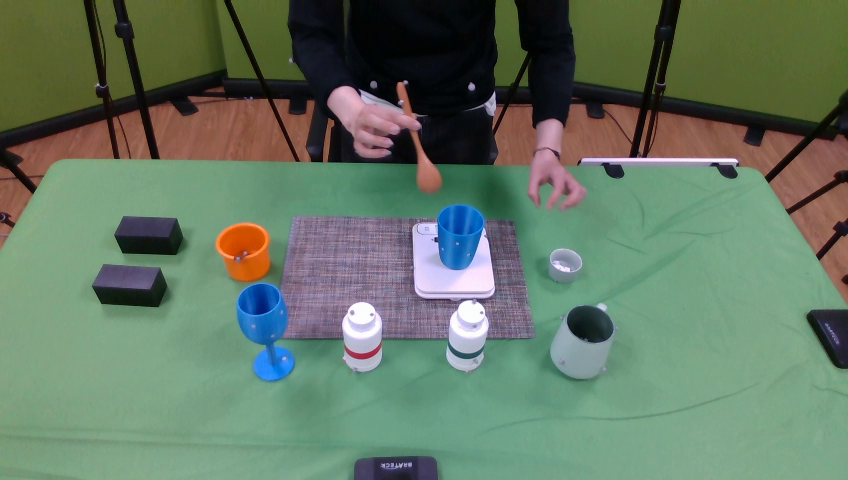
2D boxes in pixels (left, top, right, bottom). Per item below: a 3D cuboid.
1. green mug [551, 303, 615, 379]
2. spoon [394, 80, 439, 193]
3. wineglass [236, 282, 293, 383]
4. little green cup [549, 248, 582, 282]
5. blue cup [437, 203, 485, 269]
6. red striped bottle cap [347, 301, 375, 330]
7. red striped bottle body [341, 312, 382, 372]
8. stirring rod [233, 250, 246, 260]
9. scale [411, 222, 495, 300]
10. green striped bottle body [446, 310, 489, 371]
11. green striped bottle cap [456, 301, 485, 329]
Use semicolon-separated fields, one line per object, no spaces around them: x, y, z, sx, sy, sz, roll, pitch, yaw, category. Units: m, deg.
0.271;0.157;1.007;0.092;0.105;0.125;27;50;21;green mug
-0.017;-0.164;0.984;0.041;0.194;0.021;-18;22;0;spoon
-0.243;0.143;0.934;0.074;0.173;0.073;2;46;-2;wineglass
0.268;0.050;1.156;0.061;0.039;0.061;1;46;-1;little green cup
0.062;-0.001;1.098;0.093;0.101;0.092;2;44;-2;blue cup
-0.097;0.116;0.934;0.044;0.018;0.044;2;49;-2;red striped bottle cap
-0.100;0.154;0.972;0.063;0.120;0.062;2;46;-2;red striped bottle body
-0.324;0.026;1.067;0.014;0.006;0.176;-9;4;-13;stirring rod
0.052;0.031;1.158;0.149;0.032;0.199;1;46;-4;scale
0.070;0.155;0.984;0.063;0.120;0.063;2;46;-2;green striped bottle body
0.073;0.116;0.943;0.044;0.020;0.044;3;46;-3;green striped bottle cap
